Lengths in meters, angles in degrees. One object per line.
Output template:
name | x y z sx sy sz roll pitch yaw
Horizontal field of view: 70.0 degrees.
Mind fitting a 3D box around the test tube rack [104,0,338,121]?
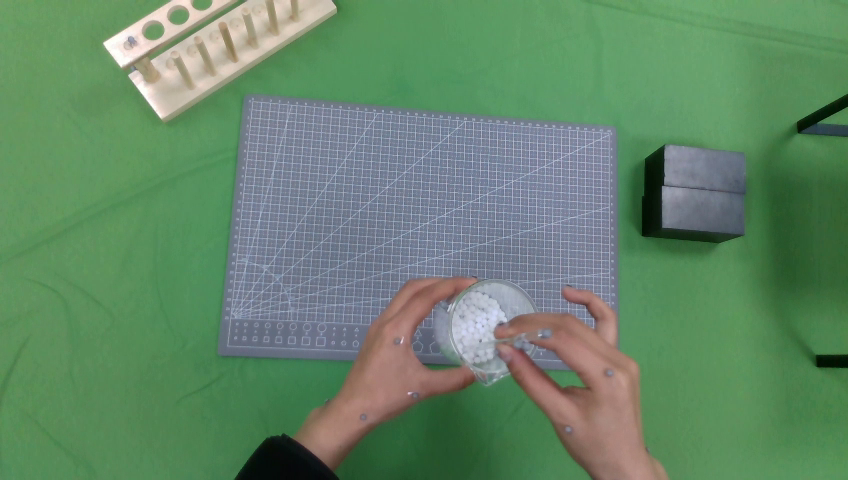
test tube rack | -0.215 -0.240 0.674 0.242 0.085 0.066 -37 85 -11

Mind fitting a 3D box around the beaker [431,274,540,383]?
beaker | 0.046 0.075 0.509 0.074 0.100 0.083 10 80 -6

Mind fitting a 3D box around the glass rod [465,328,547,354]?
glass rod | 0.054 0.077 0.449 0.008 0.200 0.008 2 76 -9
